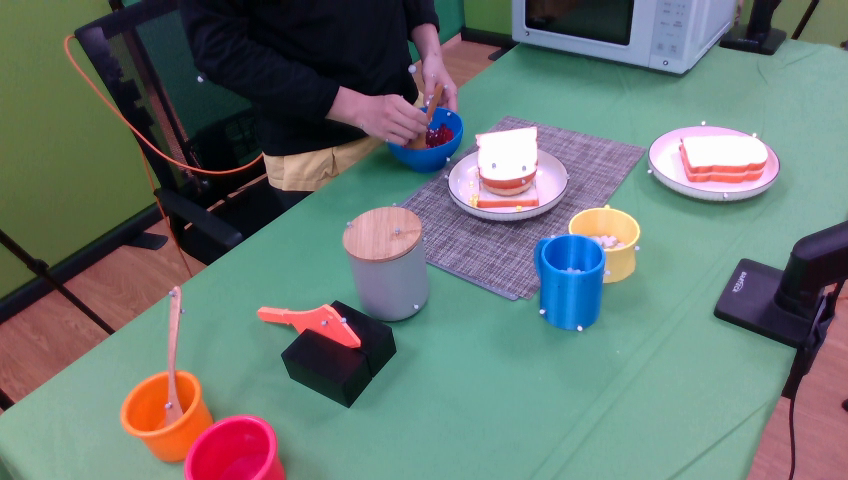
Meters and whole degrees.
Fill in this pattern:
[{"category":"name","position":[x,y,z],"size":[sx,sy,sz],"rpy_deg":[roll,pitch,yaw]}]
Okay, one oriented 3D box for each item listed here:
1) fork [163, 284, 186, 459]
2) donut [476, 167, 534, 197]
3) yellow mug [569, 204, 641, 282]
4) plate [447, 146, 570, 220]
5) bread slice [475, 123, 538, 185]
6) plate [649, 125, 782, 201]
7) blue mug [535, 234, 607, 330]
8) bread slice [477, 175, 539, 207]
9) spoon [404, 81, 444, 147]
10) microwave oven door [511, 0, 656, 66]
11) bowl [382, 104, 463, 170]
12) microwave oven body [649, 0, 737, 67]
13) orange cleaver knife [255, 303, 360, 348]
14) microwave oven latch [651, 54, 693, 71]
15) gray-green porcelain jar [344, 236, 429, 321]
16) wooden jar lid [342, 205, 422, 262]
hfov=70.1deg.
[{"category":"fork","position":[-0.302,0.157,0.733],"size":[0.028,0.019,0.207],"rpy_deg":[-3,84,15]},{"category":"donut","position":[0.138,-0.116,1.025],"size":[0.099,0.048,0.098],"rpy_deg":[-8,55,13]},{"category":"yellow mug","position":[0.268,-0.005,0.904],"size":[0.099,0.064,0.130],"rpy_deg":[7,41,15]},{"category":"plate","position":[0.145,-0.098,1.046],"size":[0.209,0.038,0.208],"rpy_deg":[-4,40,4]},{"category":"bread slice","position":[0.141,-0.144,1.008],"size":[0.107,0.018,0.133],"rpy_deg":[-8,47,9]},{"category":"plate","position":[0.493,-0.128,1.036],"size":[0.207,0.039,0.206],"rpy_deg":[-4,41,4]},{"category":"blue mug","position":[0.190,0.048,0.824],"size":[0.082,0.106,0.115],"rpy_deg":[-26,44,-21]},{"category":"bread slice","position":[0.144,-0.105,1.058],"size":[0.105,0.019,0.131],"rpy_deg":[-1,43,6]},{"category":"spoon","position":[0.002,-0.202,1.030],"size":[0.042,0.193,0.021],"rpy_deg":[21,53,-3]},{"category":"microwave oven door","position":[0.351,-0.539,1.349],"size":[0.353,0.245,0.039],"rpy_deg":[24,50,31]},{"category":"bowl","position":[0.002,-0.184,1.140],"size":[0.151,0.077,0.150],"rpy_deg":[-5,42,5]},{"category":"microwave oven body","position":[0.475,-0.602,1.411],"size":[0.438,0.261,0.327],"rpy_deg":[23,50,32]},{"category":"orange cleaver knife","position":[-0.161,0.115,0.813],"size":[0.210,0.077,0.012],"rpy_deg":[-4,32,47]},{"category":"microwave oven latch","position":[0.532,-0.386,1.301],"size":[0.078,0.029,0.030],"rpy_deg":[26,51,33]},{"category":"gray-green porcelain jar","position":[-0.049,0.042,0.849],"size":[0.106,0.127,0.105],"rpy_deg":[-4,41,4]},{"category":"wooden jar lid","position":[-0.055,-0.006,0.808],"size":[0.108,0.021,0.108],"rpy_deg":[-6,40,6]}]
